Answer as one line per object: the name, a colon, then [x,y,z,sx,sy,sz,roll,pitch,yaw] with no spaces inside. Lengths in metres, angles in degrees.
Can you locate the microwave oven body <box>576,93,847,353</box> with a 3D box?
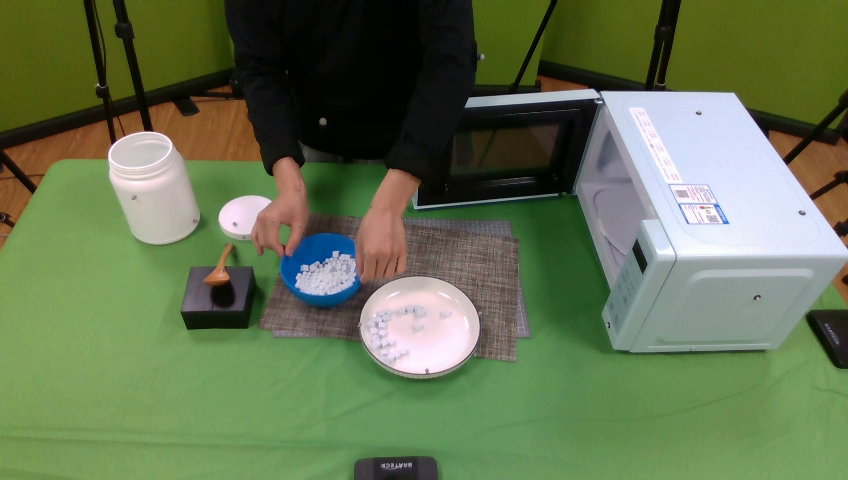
microwave oven body: [0.475,-0.041,1.109,0.326,0.261,0.438,-1,45,-4]

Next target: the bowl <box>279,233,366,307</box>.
bowl: [-0.177,0.067,1.077,0.151,0.077,0.150,2,45,-2]

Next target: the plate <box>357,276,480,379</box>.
plate: [-0.010,0.151,1.038,0.209,0.038,0.208,2,47,-2]

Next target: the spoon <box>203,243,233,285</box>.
spoon: [-0.360,0.039,1.087,0.041,0.022,0.192,-5,24,-6]

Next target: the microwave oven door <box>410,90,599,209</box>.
microwave oven door: [0.152,-0.177,1.210,0.356,0.245,0.039,-6,47,-10]

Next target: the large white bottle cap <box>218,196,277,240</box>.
large white bottle cap: [-0.355,-0.046,1.220,0.115,0.018,0.114,1,46,-1]

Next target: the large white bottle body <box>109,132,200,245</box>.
large white bottle body: [-0.506,-0.097,1.141,0.131,0.185,0.130,2,46,-2]

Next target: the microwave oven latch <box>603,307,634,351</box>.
microwave oven latch: [0.332,0.153,1.044,0.030,0.029,0.078,0,45,-3]
